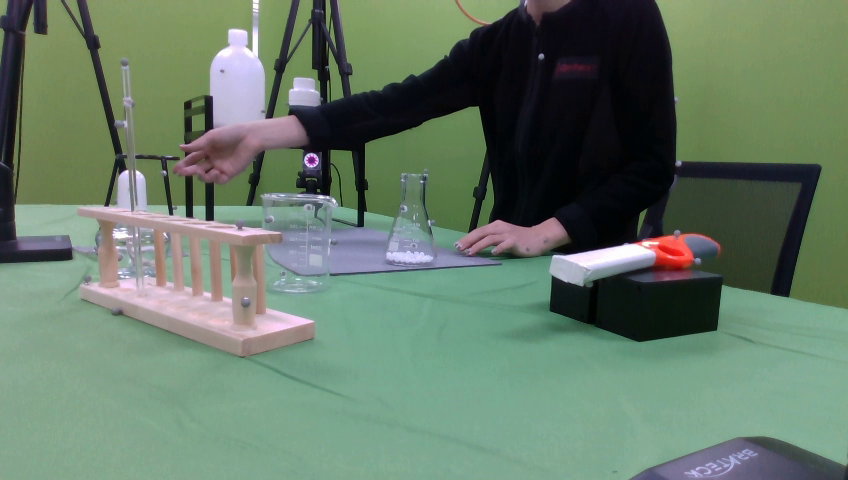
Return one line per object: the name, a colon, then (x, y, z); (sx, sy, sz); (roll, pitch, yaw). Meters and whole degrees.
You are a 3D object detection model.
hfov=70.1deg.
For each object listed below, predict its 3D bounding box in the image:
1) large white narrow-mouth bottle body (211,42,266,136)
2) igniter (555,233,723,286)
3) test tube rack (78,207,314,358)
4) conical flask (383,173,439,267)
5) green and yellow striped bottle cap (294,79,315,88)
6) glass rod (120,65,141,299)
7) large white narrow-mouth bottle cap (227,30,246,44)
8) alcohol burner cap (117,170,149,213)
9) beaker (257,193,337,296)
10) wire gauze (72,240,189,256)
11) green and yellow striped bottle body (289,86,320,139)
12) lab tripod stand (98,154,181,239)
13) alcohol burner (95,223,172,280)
large white narrow-mouth bottle body: (-0.361, -0.302, 1.176); (0.102, 0.194, 0.102); (1, 7, 0)
igniter: (0.214, 0.015, 0.570); (0.278, 0.025, 0.057); (-5, 22, -44)
test tube rack: (-0.197, 0.024, 0.500); (0.241, 0.085, 0.067); (8, 9, 37)
conical flask: (-0.016, -0.028, 0.808); (0.075, 0.122, 0.075); (2, 8, 0)
green and yellow striped bottle cap: (-0.248, -0.323, 1.256); (0.045, 0.020, 0.045); (3, 9, 0)
glass rod: (-0.248, -0.047, 0.513); (0.008, 0.199, 0.008); (-1, 4, 0)
large white narrow-mouth bottle cap: (-0.361, -0.389, 1.165); (0.038, 0.024, 0.037); (1, 7, 0)
alcohol burner cap: (-0.320, -0.052, 0.661); (0.034, 0.048, 0.034); (-3, 0, 0)
beaker: (-0.130, 0.003, 0.628); (0.084, 0.100, 0.074); (5, 8, 15)
wire gauze: (-0.399, 0.013, 0.820); (0.126, 0.011, 0.121); (-3, 8, -37)
green and yellow striped bottle body: (-0.250, -0.272, 1.261); (0.063, 0.119, 0.063); (3, 7, 0)
lab tripod stand: (-0.427, -0.066, 0.942); (0.148, 0.131, 0.148); (1, 6, 0)
alcohol burner: (-0.320, -0.016, 0.667); (0.078, 0.119, 0.078); (0, 7, 0)
